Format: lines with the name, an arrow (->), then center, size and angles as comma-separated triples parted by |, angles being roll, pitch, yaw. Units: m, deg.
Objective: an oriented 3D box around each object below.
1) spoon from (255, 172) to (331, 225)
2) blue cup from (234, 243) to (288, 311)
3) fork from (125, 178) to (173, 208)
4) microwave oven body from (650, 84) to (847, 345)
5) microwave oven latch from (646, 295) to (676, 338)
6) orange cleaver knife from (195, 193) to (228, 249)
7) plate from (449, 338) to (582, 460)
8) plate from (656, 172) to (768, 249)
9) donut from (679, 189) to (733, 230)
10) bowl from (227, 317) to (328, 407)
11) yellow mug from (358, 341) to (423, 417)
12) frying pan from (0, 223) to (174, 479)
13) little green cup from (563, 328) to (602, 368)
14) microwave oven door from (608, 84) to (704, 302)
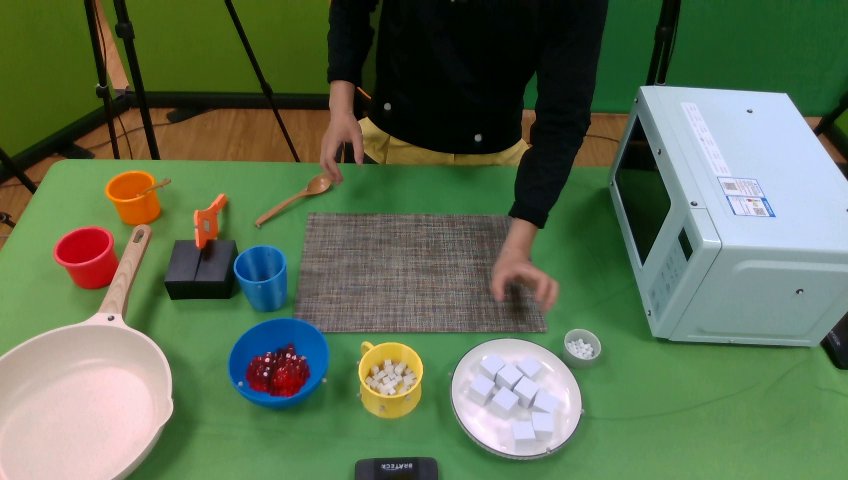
spoon -> -0.272, -0.087, 1.257 | 0.041, 0.022, 0.193 | 43, 57, 16
blue cup -> -0.276, 0.072, 1.052 | 0.093, 0.101, 0.092 | 1, 48, -1
fork -> -0.525, -0.090, 1.153 | 0.207, 0.019, 0.028 | -17, 27, 45
microwave oven body -> 0.569, -0.054, 1.116 | 0.326, 0.261, 0.439 | 2, 46, -1
microwave oven latch -> 0.412, 0.133, 1.060 | 0.030, 0.029, 0.078 | 3, 46, 0
orange cleaver knife -> -0.406, -0.041, 1.163 | 0.012, 0.077, 0.210 | 0, 18, -3
plate -> 0.141, 0.251, 0.955 | 0.208, 0.039, 0.206 | 2, 46, -2
plate -> 0.557, -0.054, 1.186 | 0.209, 0.038, 0.208 | 1, 45, -1
donut -> 0.545, -0.061, 1.176 | 0.099, 0.048, 0.098 | 0, 45, 0
bowl -> -0.222, 0.203, 0.947 | 0.151, 0.077, 0.150 | 2, 46, -2
yellow mug -> -0.062, 0.210, 0.961 | 0.100, 0.064, 0.130 | -29, 54, -27
frying pan -> -0.505, 0.169, 0.941 | 0.307, 0.103, 0.485 | 5, 54, -1
little green cup -> 0.266, 0.185, 1.025 | 0.061, 0.039, 0.061 | 3, 45, -3
microwave oven door -> 0.424, -0.096, 1.138 | 0.039, 0.245, 0.353 | 2, 46, -1
